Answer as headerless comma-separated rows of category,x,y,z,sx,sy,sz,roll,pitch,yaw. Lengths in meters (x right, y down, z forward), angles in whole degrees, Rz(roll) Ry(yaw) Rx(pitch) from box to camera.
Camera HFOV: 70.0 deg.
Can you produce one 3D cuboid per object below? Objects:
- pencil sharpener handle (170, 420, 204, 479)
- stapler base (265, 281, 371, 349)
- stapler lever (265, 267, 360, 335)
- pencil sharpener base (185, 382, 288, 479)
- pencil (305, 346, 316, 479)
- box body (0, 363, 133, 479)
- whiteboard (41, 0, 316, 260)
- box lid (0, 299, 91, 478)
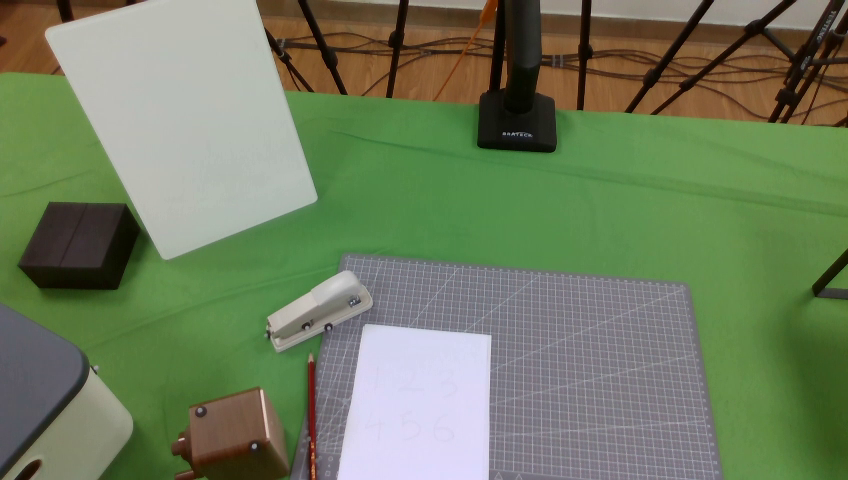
pencil sharpener handle,-0.232,0.204,0.579,0.031,0.068,0.035,-14,35,-10
stapler base,-0.129,0.084,0.734,0.131,0.024,0.041,-26,55,-14
stapler lever,-0.131,0.070,0.713,0.118,0.040,0.026,-25,54,-15
pencil sharpener base,-0.185,0.196,0.602,0.077,0.108,0.060,-14,56,-10
pencil,-0.124,0.202,0.657,0.012,0.012,0.192,-6,54,-5
box body,-0.509,0.172,0.578,0.362,0.162,0.253,23,57,14
whiteboard,-0.298,-0.169,0.778,0.217,0.308,0.142,-23,39,-16
box lid,-0.510,0.127,0.518,0.370,0.015,0.262,23,57,14
